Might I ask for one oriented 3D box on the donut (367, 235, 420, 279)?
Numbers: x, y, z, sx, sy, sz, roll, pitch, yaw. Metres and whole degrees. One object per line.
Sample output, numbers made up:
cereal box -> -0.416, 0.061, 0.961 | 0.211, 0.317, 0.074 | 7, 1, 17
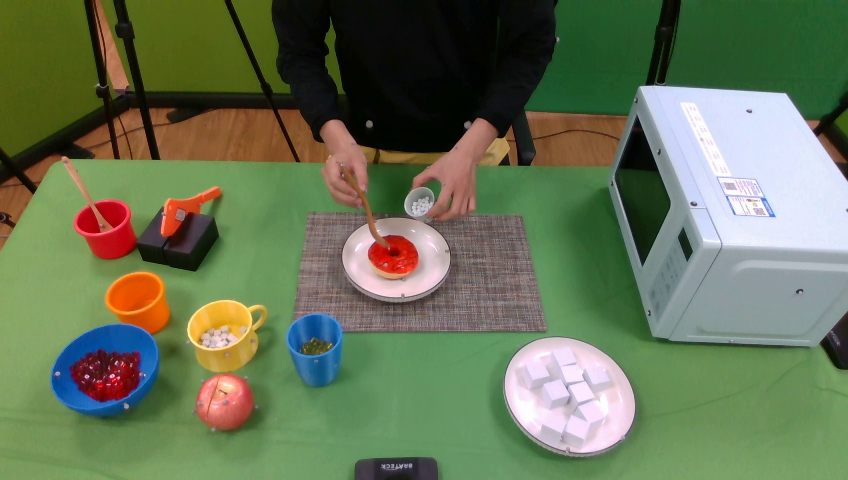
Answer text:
donut -> -0.057, 0.032, 1.132 | 0.099, 0.048, 0.098 | 3, 45, -3

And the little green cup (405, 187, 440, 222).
little green cup -> -0.001, -0.064, 1.128 | 0.061, 0.039, 0.061 | -9, 65, 20

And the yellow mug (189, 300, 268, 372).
yellow mug -> -0.315, 0.149, 1.001 | 0.131, 0.064, 0.099 | -33, 55, -31

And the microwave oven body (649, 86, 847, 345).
microwave oven body -> 0.568, -0.053, 1.118 | 0.326, 0.261, 0.439 | 2, 45, -1

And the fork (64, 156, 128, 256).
fork -> -0.614, -0.064, 1.129 | 0.028, 0.018, 0.207 | -30, 97, -16

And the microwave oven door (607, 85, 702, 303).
microwave oven door -> 0.423, -0.094, 1.141 | 0.039, 0.245, 0.353 | 2, 46, -1

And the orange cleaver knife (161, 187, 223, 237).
orange cleaver knife -> -0.448, -0.058, 1.180 | 0.012, 0.077, 0.211 | 13, 17, 6

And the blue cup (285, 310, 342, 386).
blue cup -> -0.170, 0.179, 0.958 | 0.093, 0.101, 0.092 | 2, 44, -2

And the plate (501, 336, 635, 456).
plate -> 0.225, 0.248, 0.963 | 0.208, 0.039, 0.206 | 2, 46, -2

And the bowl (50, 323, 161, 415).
bowl -> -0.472, 0.209, 0.924 | 0.151, 0.077, 0.150 | 3, 45, -2

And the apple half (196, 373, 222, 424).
apple half -> -0.322, 0.239, 0.907 | 0.033, 0.081, 0.081 | 6, 46, 0

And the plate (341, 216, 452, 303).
plate -> -0.052, 0.039, 1.140 | 0.209, 0.038, 0.208 | 2, 46, -2

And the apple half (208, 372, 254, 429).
apple half -> -0.283, 0.244, 0.908 | 0.053, 0.075, 0.080 | 7, 42, -1

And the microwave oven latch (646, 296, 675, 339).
microwave oven latch -> 0.412, 0.134, 1.061 | 0.030, 0.029, 0.078 | 4, 45, 1

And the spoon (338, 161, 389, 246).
spoon -> -0.102, -0.060, 1.034 | 0.021, 0.195, 0.041 | -28, 38, -7
